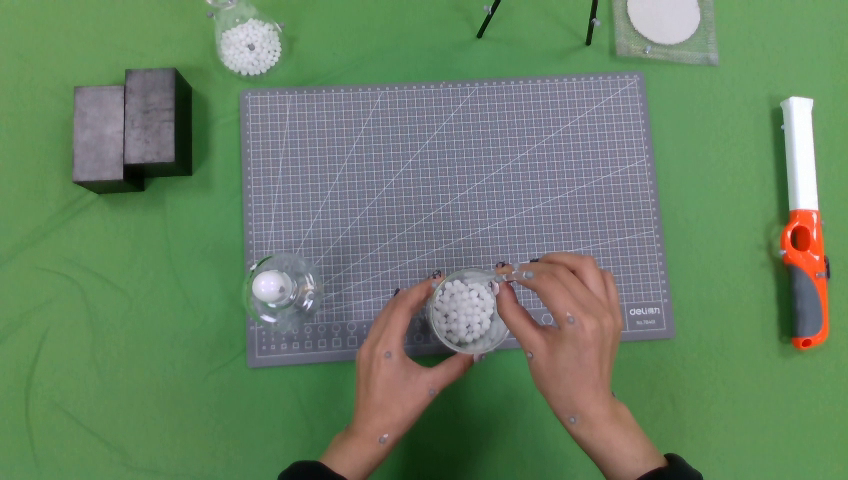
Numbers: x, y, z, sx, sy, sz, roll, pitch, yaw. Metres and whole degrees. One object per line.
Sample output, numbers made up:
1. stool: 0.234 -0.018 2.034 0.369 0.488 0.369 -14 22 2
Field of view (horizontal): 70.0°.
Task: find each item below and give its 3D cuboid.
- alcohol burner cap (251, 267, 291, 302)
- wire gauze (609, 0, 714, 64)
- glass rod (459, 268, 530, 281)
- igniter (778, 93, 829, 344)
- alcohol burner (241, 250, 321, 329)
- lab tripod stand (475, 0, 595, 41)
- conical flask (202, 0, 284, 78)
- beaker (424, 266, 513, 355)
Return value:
1. alcohol burner cap: -0.139 0.040 0.545 0.034 0.048 0.034 1 85 -6
2. wire gauze: 0.274 -0.266 0.699 0.125 0.011 0.121 2 82 -4
3. glass rod: 0.054 0.029 0.514 0.008 0.199 0.008 1 85 -10
4. igniter: 0.411 -0.026 0.661 0.057 0.025 0.275 3 82 -13
5. alcohol burner: -0.141 0.046 0.581 0.078 0.119 0.077 0 81 0
6. lab tripod stand: 0.126 -0.274 0.631 0.148 0.131 0.148 0 84 -2
7. conical flask: -0.191 -0.222 0.615 0.075 0.122 0.075 0 81 -2
8. beaker: 0.039 0.062 0.567 0.074 0.100 0.084 41 83 1
